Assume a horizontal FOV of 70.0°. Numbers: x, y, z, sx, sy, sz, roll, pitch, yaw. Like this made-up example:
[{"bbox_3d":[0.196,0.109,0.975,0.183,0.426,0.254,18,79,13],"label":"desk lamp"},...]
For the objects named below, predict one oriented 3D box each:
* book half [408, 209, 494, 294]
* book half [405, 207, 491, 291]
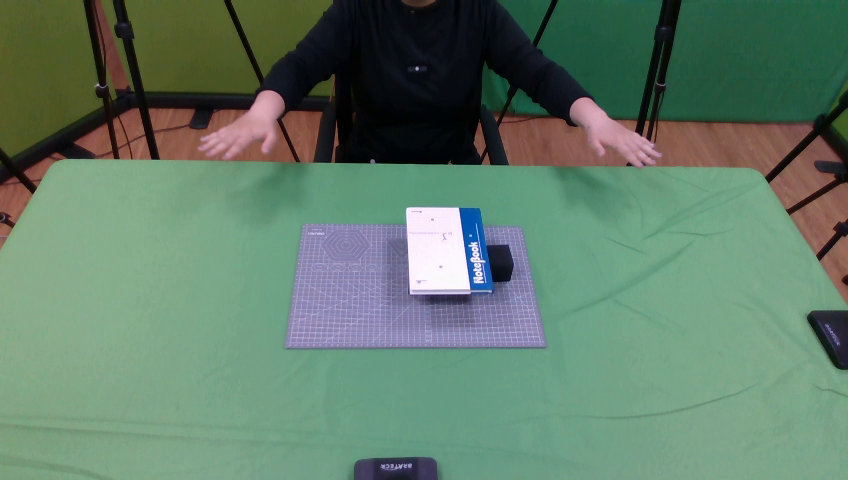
[{"bbox_3d":[0.042,0.016,1.119,0.149,0.016,0.209,1,46,-5],"label":"book half"},{"bbox_3d":[0.039,0.011,1.113,0.143,0.007,0.208,0,46,-5],"label":"book half"}]
